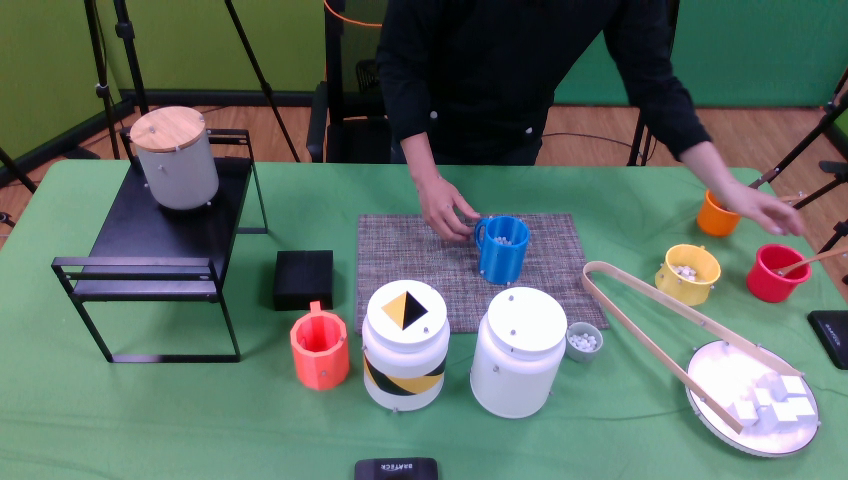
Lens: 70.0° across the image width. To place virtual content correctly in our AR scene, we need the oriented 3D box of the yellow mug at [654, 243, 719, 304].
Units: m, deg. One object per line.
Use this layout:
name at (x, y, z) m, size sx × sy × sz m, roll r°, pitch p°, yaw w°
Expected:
yellow mug at (0.504, 0.054, 1.154) m, size 0.099 × 0.064 × 0.130 m, roll 28°, pitch 50°, yaw 22°

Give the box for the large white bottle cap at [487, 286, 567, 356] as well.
large white bottle cap at (0.148, 0.114, 0.869) m, size 0.115 × 0.018 × 0.114 m, roll 3°, pitch 46°, yaw -3°

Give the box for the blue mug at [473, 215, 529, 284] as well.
blue mug at (0.135, 0.009, 1.136) m, size 0.082 × 0.106 × 0.116 m, roll -32°, pitch 56°, yaw -29°

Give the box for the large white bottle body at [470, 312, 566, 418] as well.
large white bottle body at (0.143, 0.173, 0.930) m, size 0.131 × 0.185 × 0.130 m, roll 2°, pitch 46°, yaw -2°

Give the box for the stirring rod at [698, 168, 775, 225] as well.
stirring rod at (0.644, -0.090, 1.252) m, size 0.176 × 0.006 × 0.014 m, roll -40°, pitch 53°, yaw 16°

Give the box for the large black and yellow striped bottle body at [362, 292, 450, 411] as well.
large black and yellow striped bottle body at (-0.029, 0.163, 0.928) m, size 0.131 × 0.185 × 0.130 m, roll 2°, pitch 47°, yaw -2°

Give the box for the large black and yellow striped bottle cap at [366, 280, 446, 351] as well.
large black and yellow striped bottle cap at (-0.025, 0.106, 0.865) m, size 0.115 × 0.019 × 0.114 m, roll 2°, pitch 46°, yaw -1°

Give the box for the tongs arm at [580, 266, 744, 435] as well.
tongs arm at (0.384, 0.173, 1.028) m, size 0.028 × 0.028 × 0.385 m, roll -25°, pitch 46°, yaw -15°

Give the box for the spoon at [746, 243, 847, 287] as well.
spoon at (0.703, 0.042, 1.127) m, size 0.194 × 0.022 × 0.041 m, roll -29°, pitch 33°, yaw 30°

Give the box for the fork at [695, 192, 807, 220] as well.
fork at (0.655, -0.069, 1.224) m, size 0.207 × 0.019 × 0.028 m, roll -17°, pitch 33°, yaw 45°

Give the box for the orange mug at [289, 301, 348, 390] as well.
orange mug at (-0.170, 0.162, 0.976) m, size 0.083 × 0.101 × 0.125 m, roll -7°, pitch 52°, yaw -11°

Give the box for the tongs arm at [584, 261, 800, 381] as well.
tongs arm at (0.452, 0.137, 1.064) m, size 0.051 × 0.027 × 0.382 m, roll -34°, pitch 50°, yaw -27°

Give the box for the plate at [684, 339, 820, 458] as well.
plate at (0.523, 0.256, 0.982) m, size 0.208 × 0.039 × 0.206 m, roll 2°, pitch 46°, yaw -2°

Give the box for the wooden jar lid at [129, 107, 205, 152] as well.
wooden jar lid at (-0.385, -0.163, 0.915) m, size 0.108 × 0.021 × 0.107 m, roll 2°, pitch 47°, yaw -2°

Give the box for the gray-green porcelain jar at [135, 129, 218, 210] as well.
gray-green porcelain jar at (-0.388, -0.120, 0.960) m, size 0.106 × 0.127 × 0.105 m, roll 2°, pitch 46°, yaw -2°

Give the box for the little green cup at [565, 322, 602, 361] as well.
little green cup at (0.270, 0.176, 1.039) m, size 0.061 × 0.039 × 0.061 m, roll 2°, pitch 46°, yaw -2°
